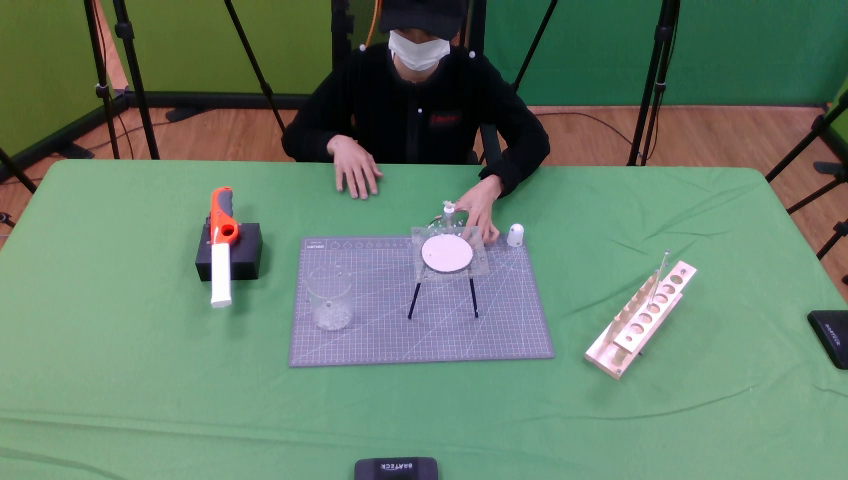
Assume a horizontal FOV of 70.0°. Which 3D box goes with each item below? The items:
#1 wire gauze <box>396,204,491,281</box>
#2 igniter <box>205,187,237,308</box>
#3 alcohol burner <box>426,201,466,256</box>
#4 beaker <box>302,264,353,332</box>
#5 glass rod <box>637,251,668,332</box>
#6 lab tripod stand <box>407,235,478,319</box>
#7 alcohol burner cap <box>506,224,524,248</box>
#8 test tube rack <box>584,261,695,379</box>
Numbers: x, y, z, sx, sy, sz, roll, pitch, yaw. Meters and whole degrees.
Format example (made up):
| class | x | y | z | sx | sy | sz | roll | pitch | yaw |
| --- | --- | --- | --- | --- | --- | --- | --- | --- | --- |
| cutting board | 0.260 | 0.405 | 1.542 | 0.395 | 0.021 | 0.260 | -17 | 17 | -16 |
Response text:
| class | x | y | z | sx | sy | sz | roll | pitch | yaw |
| --- | --- | --- | --- | --- | --- | --- | --- | --- | --- |
| wire gauze | 0.032 | 0.004 | 0.999 | 0.125 | 0.011 | 0.120 | -22 | 54 | -14 |
| igniter | -0.367 | 0.004 | 1.097 | 0.057 | 0.025 | 0.274 | -7 | 50 | -11 |
| alcohol burner | 0.043 | -0.027 | 1.161 | 0.078 | 0.120 | 0.077 | 1 | 46 | -1 |
| beaker | -0.162 | 0.101 | 1.030 | 0.084 | 0.101 | 0.073 | 4 | 46 | 0 |
| glass rod | 0.378 | 0.090 | 1.005 | 0.008 | 0.201 | 0.008 | -1 | 44 | 1 |
| lab tripod stand | 0.032 | 0.065 | 1.057 | 0.148 | 0.132 | 0.147 | 1 | 45 | -1 |
| alcohol burner cap | 0.183 | -0.010 | 1.206 | 0.034 | 0.048 | 0.033 | 1 | 46 | -1 |
| test tube rack | 0.380 | 0.127 | 1.062 | 0.066 | 0.085 | 0.242 | 34 | 53 | 26 |
